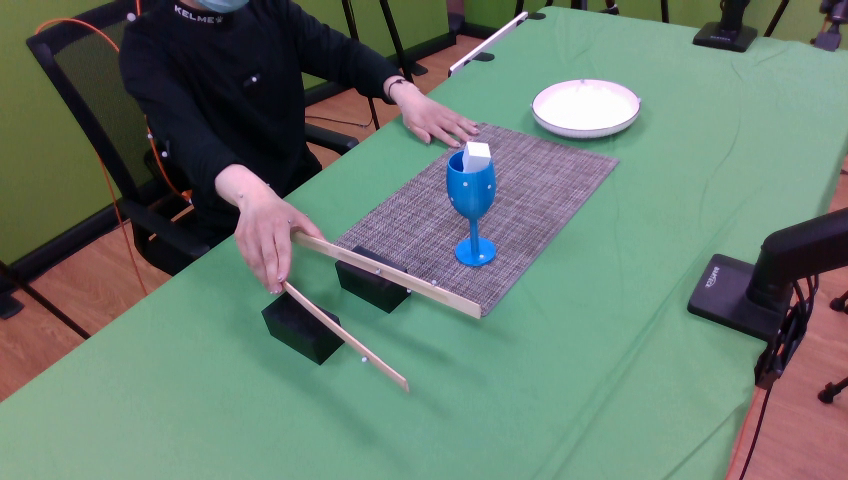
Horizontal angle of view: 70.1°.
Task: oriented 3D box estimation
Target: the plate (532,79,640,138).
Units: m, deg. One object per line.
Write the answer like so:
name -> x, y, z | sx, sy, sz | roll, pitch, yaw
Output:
plate -> 0.321, -0.259, 1.212 | 0.209, 0.038, 0.208 | -4, 40, 4

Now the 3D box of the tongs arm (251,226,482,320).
tongs arm -> -0.096, 0.045, 0.852 | 0.382, 0.026, 0.051 | 21, 50, 29

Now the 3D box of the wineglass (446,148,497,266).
wineglass -> 0.072, -0.045, 0.889 | 0.074, 0.173, 0.073 | -4, 41, 4

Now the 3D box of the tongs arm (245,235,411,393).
tongs arm -> -0.145, 0.087, 0.810 | 0.028, 0.028, 0.384 | -38, 49, -24
